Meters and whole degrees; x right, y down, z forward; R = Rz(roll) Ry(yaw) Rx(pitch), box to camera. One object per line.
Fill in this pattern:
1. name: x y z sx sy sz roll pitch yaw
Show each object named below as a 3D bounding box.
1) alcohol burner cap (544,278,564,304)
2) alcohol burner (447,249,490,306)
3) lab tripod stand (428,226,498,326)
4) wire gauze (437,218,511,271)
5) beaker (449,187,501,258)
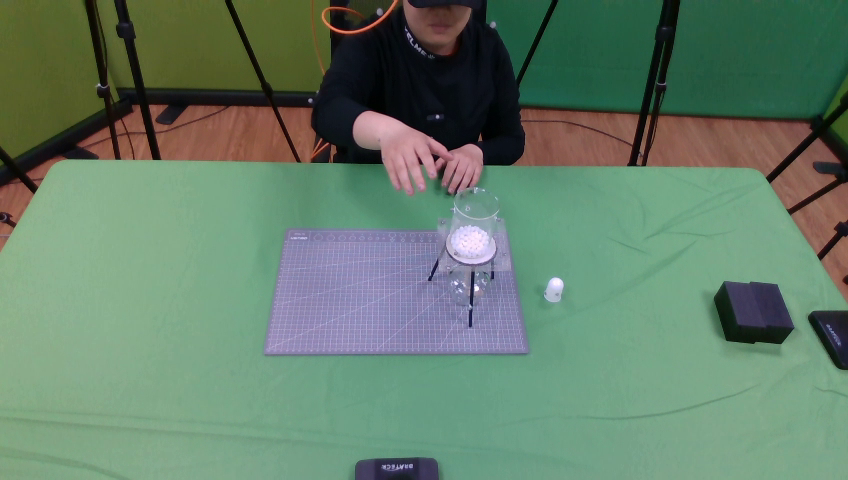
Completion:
1. alcohol burner cap: 0.241 0.090 1.117 0.034 0.048 0.033 2 45 -2
2. alcohol burner: 0.079 0.062 1.078 0.078 0.120 0.077 1 45 -1
3. lab tripod stand: 0.079 0.056 1.070 0.148 0.132 0.147 3 47 -3
4. wire gauze: 0.083 0.007 1.026 0.121 0.011 0.124 3 44 -5
5. beaker: 0.080 -0.027 0.991 0.074 0.101 0.083 3 46 -3
